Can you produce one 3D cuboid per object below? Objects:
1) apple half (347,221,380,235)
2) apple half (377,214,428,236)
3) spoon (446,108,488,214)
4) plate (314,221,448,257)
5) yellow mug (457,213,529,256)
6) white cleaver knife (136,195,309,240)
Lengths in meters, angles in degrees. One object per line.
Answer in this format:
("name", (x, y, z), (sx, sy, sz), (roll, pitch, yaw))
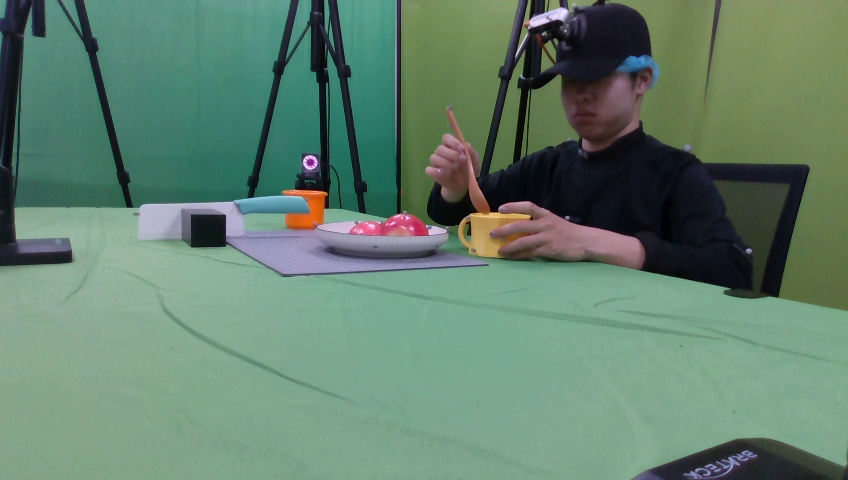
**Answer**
("apple half", (-0.088, -0.014, 0.985), (0.081, 0.033, 0.081), (5, 6, 0))
("apple half", (-0.034, -0.014, 0.924), (0.080, 0.053, 0.075), (5, 10, 16))
("spoon", (0.070, -0.128, 0.996), (0.022, 0.193, 0.041), (-11, -12, -17))
("plate", (-0.067, -0.002, 0.948), (0.209, 0.038, 0.209), (3, 7, 0))
("yellow mug", (0.108, -0.011, 0.992), (0.130, 0.064, 0.100), (4, 4, 37))
("white cleaver knife", (-0.337, -0.039, 1.037), (0.288, 0.066, 0.021), (-6, 15, -29))
